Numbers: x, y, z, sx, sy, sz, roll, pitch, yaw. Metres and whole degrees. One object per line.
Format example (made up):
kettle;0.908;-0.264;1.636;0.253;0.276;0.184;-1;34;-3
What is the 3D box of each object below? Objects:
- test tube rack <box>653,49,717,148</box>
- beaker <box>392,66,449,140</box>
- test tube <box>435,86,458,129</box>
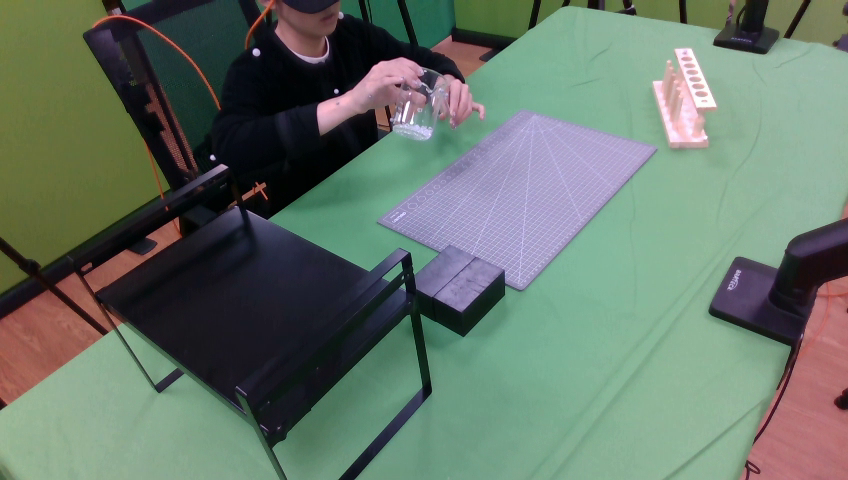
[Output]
test tube rack;0.502;-0.281;1.177;0.066;0.085;0.241;1;41;10
beaker;-0.007;-0.218;0.980;0.073;0.084;0.100;14;86;17
test tube;0.043;-0.239;1.106;0.017;0.151;0.017;-3;74;12
